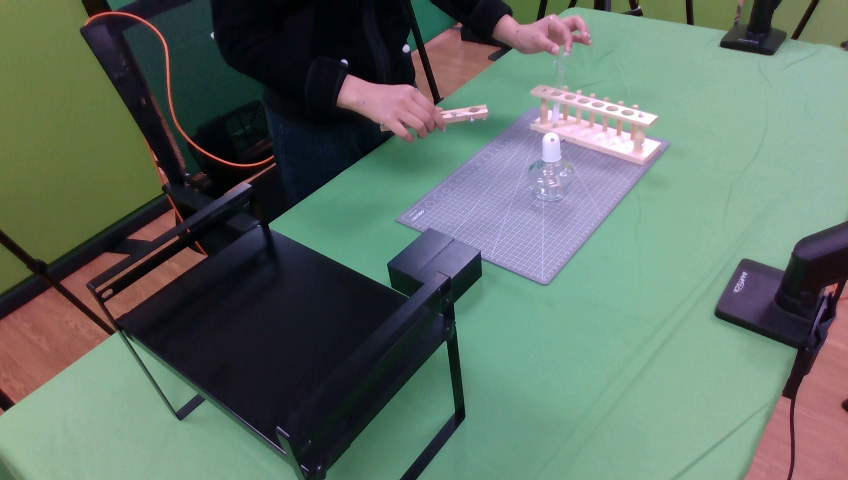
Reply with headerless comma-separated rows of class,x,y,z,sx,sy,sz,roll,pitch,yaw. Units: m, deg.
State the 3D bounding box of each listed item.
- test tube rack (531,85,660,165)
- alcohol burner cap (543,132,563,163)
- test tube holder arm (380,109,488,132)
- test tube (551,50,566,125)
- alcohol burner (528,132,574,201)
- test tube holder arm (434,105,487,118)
test tube rack,0.320,-0.226,1.140,0.240,0.085,0.067,27,51,34
alcohol burner cap,0.211,-0.154,0.994,0.034,0.048,0.033,-7,35,6
test tube holder arm,0.016,-0.197,0.994,0.179,0.015,0.013,-10,57,-3
test tube,0.253,-0.284,1.141,0.017,0.151,0.017,-2,41,2
alcohol burner,0.214,-0.126,1.016,0.078,0.119,0.077,-5,38,5
test tube holder arm,0.060,-0.209,0.999,0.088,0.015,0.010,-9,57,-3
